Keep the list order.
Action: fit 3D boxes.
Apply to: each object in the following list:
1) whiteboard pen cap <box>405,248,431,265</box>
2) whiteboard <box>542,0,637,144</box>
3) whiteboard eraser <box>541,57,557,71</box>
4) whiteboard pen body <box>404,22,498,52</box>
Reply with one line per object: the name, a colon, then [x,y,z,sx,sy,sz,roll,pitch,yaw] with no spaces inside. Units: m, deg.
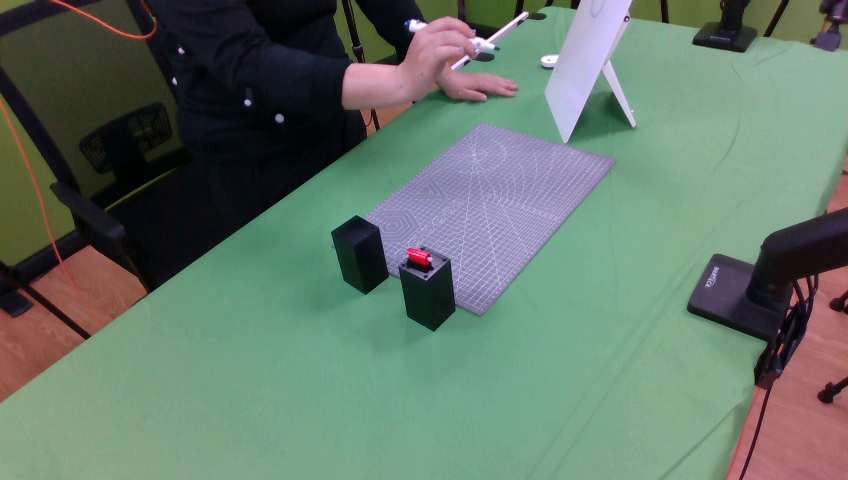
whiteboard pen cap: [-0.008,0.021,0.794,0.032,0.017,0.017,17,46,28]
whiteboard: [0.366,-0.351,1.160,0.144,0.305,0.216,10,39,-10]
whiteboard eraser: [0.323,-0.412,1.407,0.101,0.019,0.041,1,42,11]
whiteboard pen body: [0.039,-0.289,0.868,0.140,0.017,0.017,17,44,8]
